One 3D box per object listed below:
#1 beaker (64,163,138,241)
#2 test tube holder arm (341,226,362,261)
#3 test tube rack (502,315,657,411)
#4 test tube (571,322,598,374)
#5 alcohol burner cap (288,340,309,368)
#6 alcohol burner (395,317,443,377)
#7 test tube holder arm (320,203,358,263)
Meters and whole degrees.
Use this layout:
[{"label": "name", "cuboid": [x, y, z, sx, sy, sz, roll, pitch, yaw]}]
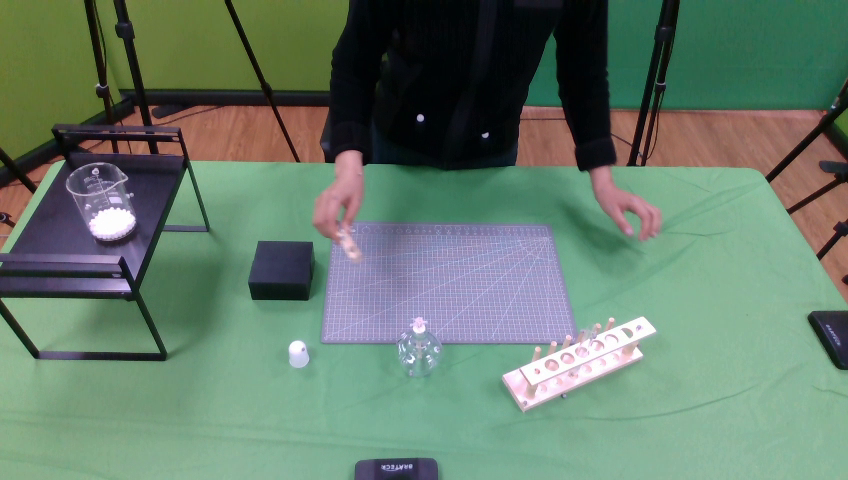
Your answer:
[{"label": "beaker", "cuboid": [-0.477, -0.055, 0.910, 0.084, 0.101, 0.073, -9, 48, -13]}, {"label": "test tube holder arm", "cuboid": [-0.121, 0.006, 0.986, 0.010, 0.015, 0.087, -24, 40, -14]}, {"label": "test tube rack", "cuboid": [0.253, 0.186, 0.988, 0.242, 0.085, 0.066, -18, 50, -20]}, {"label": "test tube", "cuboid": [0.246, 0.170, 0.935, 0.017, 0.151, 0.017, -1, 53, 1]}, {"label": "alcohol burner cap", "cuboid": [-0.207, 0.183, 0.991, 0.034, 0.048, 0.033, 3, 46, -3]}, {"label": "alcohol burner", "cuboid": [-0.009, 0.166, 0.971, 0.078, 0.120, 0.077, 1, 45, 0]}, {"label": "test tube holder arm", "cuboid": [-0.145, -0.015, 1.018, 0.013, 0.015, 0.177, -24, 40, -14]}]
